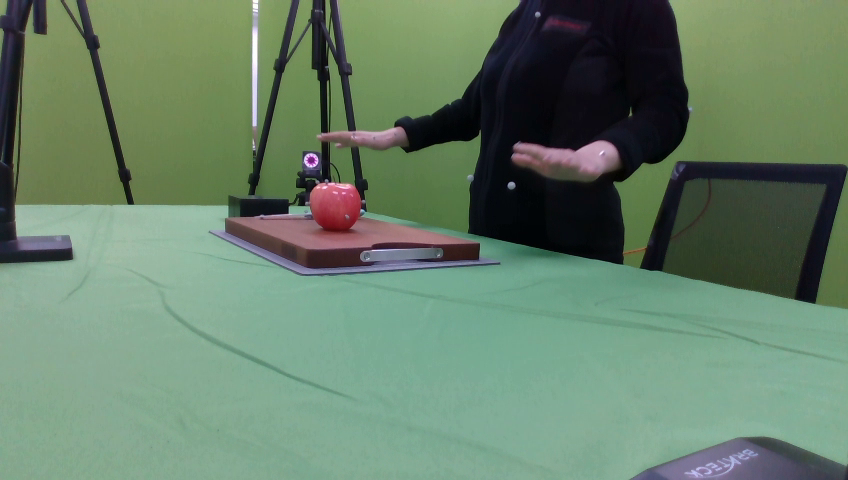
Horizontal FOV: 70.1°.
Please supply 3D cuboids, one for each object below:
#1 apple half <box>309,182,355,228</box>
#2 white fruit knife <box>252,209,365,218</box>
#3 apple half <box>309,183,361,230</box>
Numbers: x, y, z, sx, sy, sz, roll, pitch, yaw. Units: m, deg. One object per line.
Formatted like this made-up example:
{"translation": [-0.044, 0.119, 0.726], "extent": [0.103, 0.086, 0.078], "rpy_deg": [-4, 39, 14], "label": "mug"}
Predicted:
{"translation": [-0.152, -0.058, 0.978], "extent": [0.082, 0.081, 0.032], "rpy_deg": [-2, 11, -27], "label": "apple half"}
{"translation": [-0.209, -0.047, 1.106], "extent": [0.208, 0.016, 0.027], "rpy_deg": [-3, -4, -30], "label": "white fruit knife"}
{"translation": [-0.135, -0.052, 0.945], "extent": [0.081, 0.074, 0.053], "rpy_deg": [3, 11, -29], "label": "apple half"}
